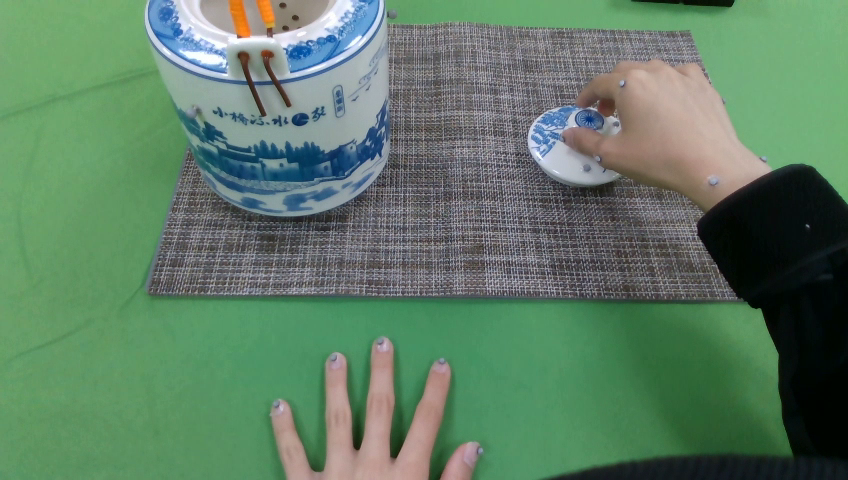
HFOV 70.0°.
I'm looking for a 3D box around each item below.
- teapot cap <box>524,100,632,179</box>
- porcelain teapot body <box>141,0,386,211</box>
[{"bbox_3d":[0.122,-0.084,0.476,0.085,0.044,0.084,-1,54,1],"label":"teapot cap"},{"bbox_3d":[-0.101,-0.154,0.403,0.145,0.227,0.203,-5,56,-6],"label":"porcelain teapot body"}]
